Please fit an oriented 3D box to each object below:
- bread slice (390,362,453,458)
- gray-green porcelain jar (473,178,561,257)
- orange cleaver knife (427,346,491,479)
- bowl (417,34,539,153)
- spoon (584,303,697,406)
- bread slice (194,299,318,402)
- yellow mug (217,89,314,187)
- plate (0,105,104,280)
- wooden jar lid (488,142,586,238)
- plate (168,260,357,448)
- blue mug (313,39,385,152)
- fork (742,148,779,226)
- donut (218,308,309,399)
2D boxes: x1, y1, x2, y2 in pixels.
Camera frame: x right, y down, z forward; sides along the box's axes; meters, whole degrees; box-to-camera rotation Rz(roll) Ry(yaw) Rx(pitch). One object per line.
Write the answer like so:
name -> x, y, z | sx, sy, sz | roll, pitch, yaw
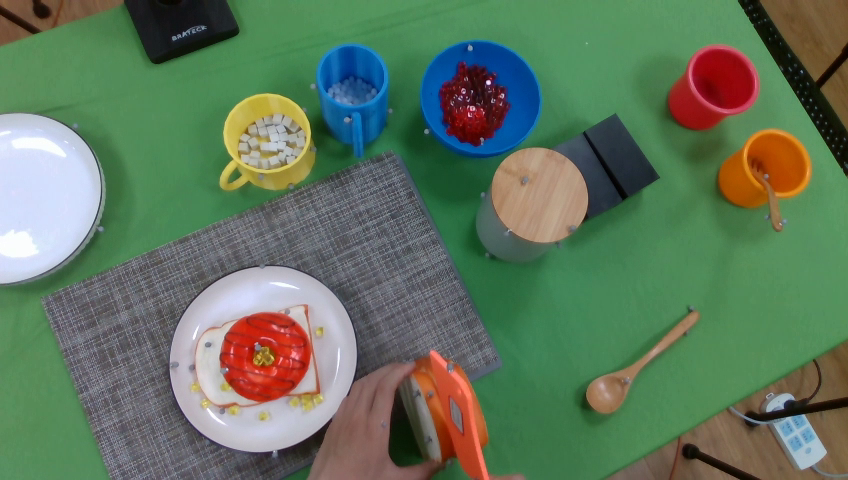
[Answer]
bread slice -> -0.003, 0.180, 0.656 | 0.018, 0.134, 0.106 | -18, 80, -17
gray-green porcelain jar -> 0.117, -0.039, 0.719 | 0.106, 0.127, 0.105 | 1, 77, -6
orange cleaver knife -> 0.043, 0.197, 0.564 | 0.012, 0.076, 0.212 | -23, 107, -22
bowl -> 0.063, -0.172, 0.767 | 0.151, 0.077, 0.150 | 1, 78, -5
spoon -> 0.273, 0.138, 0.749 | 0.194, 0.022, 0.041 | -36, 65, -12
bread slice -> -0.193, 0.131, 0.695 | 0.132, 0.019, 0.104 | -11, 78, -12
yellow mug -> -0.199, -0.112, 0.733 | 0.100, 0.064, 0.130 | 42, 78, 5
plate -> -0.479, -0.054, 0.706 | 0.208, 0.039, 0.206 | 1, 78, -6
wooden jar lid -> 0.121, -0.053, 0.658 | 0.108, 0.021, 0.108 | 2, 79, -8
plate -> -0.180, 0.127, 0.693 | 0.209, 0.038, 0.208 | 1, 77, -5
blue mug -> -0.088, -0.165, 0.736 | 0.082, 0.106, 0.116 | -5, 78, -6
fork -> 0.414, -0.069, 0.743 | 0.028, 0.019, 0.206 | 38, 33, -4
donut -> -0.175, 0.123, 0.666 | 0.099, 0.048, 0.098 | 2, 78, -9
